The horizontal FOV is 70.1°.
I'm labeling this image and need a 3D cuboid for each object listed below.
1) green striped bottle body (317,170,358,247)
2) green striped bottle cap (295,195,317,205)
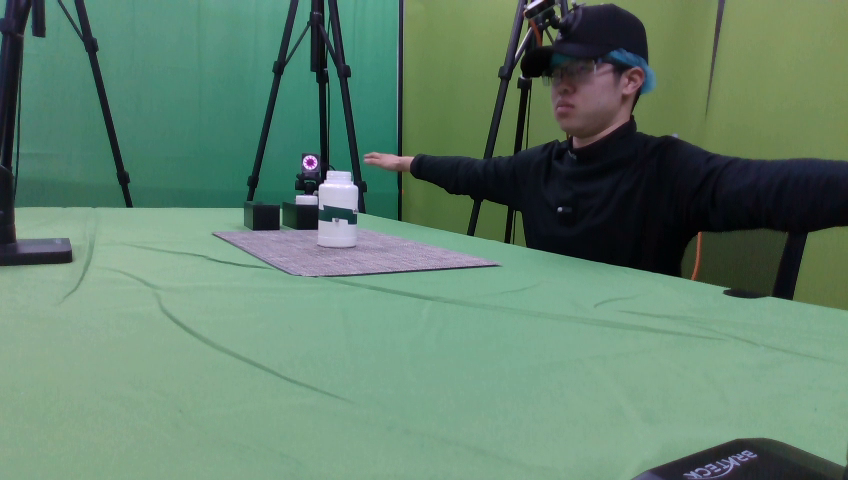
[{"bbox_3d":[-0.138,-0.051,0.964,0.063,0.119,0.063,2,7,0],"label":"green striped bottle body"},{"bbox_3d":[-0.240,-0.082,1.228,0.044,0.020,0.044,1,5,0],"label":"green striped bottle cap"}]
